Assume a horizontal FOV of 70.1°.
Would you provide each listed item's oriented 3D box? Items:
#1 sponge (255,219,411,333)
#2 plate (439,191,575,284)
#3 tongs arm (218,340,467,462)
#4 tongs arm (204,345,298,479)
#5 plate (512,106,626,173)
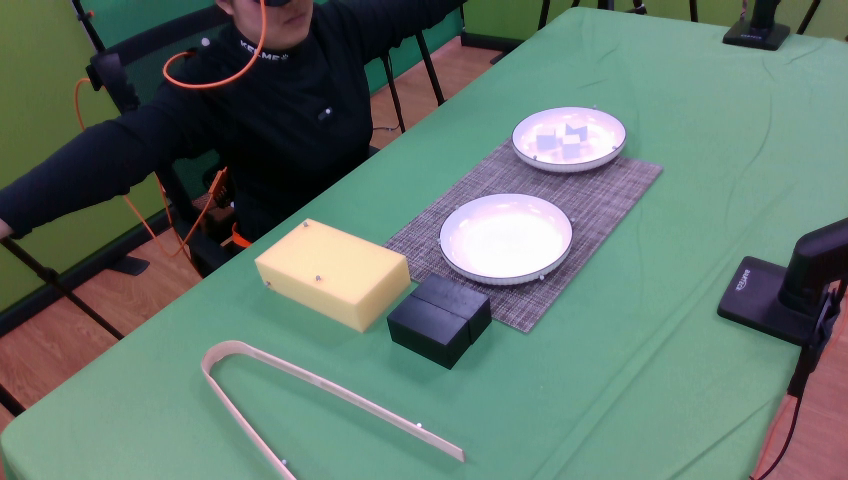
[{"bbox_3d":[-0.139,0.048,0.921,0.205,0.061,0.118,19,47,30],"label":"sponge"},{"bbox_3d":[0.129,-0.002,0.942,0.207,0.039,0.206,-5,40,5],"label":"plate"},{"bbox_3d":[-0.117,0.196,0.767,0.385,0.028,0.028,16,49,28],"label":"tongs arm"},{"bbox_3d":[-0.170,0.238,0.721,0.381,0.026,0.051,28,52,37],"label":"tongs arm"},{"bbox_3d":[0.269,-0.185,1.132,0.209,0.038,0.208,-5,40,5],"label":"plate"}]
